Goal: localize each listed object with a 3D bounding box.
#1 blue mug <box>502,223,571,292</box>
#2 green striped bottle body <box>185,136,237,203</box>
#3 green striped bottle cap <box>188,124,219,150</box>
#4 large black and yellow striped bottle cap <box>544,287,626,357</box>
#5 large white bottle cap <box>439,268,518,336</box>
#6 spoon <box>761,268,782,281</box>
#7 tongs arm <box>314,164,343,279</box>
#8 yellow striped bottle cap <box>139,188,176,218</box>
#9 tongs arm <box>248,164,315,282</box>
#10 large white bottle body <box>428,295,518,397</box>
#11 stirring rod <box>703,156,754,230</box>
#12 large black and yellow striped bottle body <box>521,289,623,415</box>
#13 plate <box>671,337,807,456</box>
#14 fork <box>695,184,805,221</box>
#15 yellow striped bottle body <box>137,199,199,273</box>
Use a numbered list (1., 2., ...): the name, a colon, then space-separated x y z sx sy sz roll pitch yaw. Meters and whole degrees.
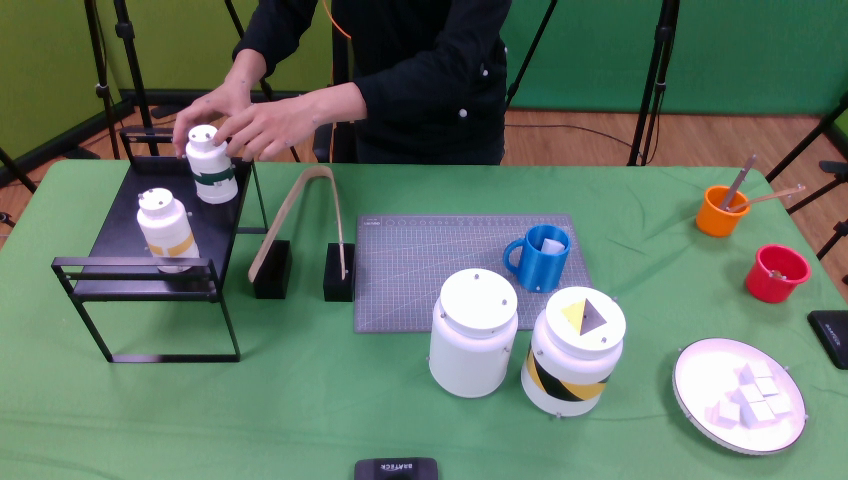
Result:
1. blue mug: 0.203 0.031 1.121 0.116 0.106 0.082 5 47 1
2. green striped bottle body: -0.341 -0.122 0.968 0.063 0.120 0.063 2 47 -2
3. green striped bottle cap: -0.339 -0.158 0.931 0.044 0.020 0.044 3 46 -3
4. large black and yellow striped bottle cap: 0.232 0.116 0.876 0.115 0.019 0.114 2 46 -1
5. large white bottle cap: 0.080 0.089 0.888 0.115 0.018 0.114 2 47 -2
6. spoon: 0.638 0.060 1.105 0.041 0.021 0.194 38 11 24
7. tongs arm: -0.188 -0.049 1.170 0.051 0.026 0.382 -6 35 -6
8. yellow striped bottle cap: -0.363 -0.051 0.826 0.044 0.019 0.044 1 47 -1
9. tongs arm: -0.270 -0.047 1.165 0.028 0.028 0.385 -1 34 7
10. large white bottle body: 0.075 0.147 0.950 0.131 0.185 0.130 2 47 -2
11. stirring rod: 0.631 -0.097 1.258 0.014 0.006 0.176 33 95 29
12. large black and yellow striped bottle body: 0.228 0.173 0.937 0.131 0.185 0.130 2 47 -2
13. plate: 0.504 0.254 0.984 0.208 0.039 0.206 2 46 -2
14. fork: 0.657 -0.075 1.230 0.207 0.019 0.028 -23 35 37
15. yellow striped bottle body: -0.366 -0.014 0.863 0.063 0.121 0.062 2 46 -2
